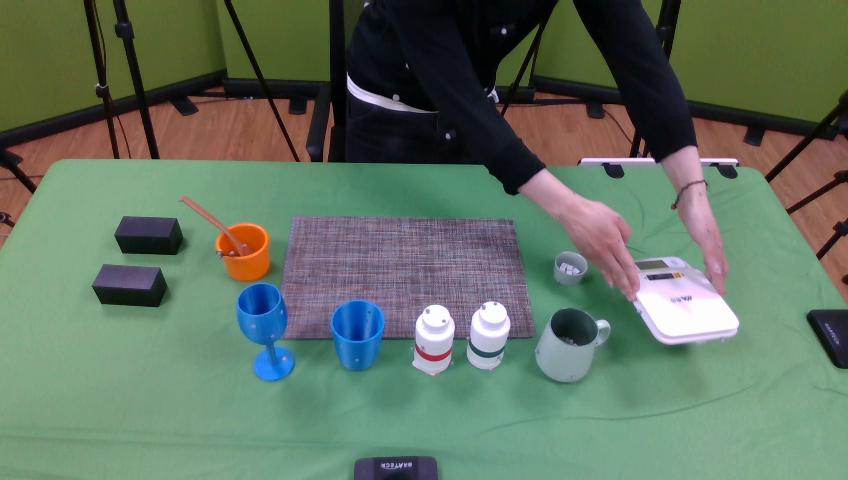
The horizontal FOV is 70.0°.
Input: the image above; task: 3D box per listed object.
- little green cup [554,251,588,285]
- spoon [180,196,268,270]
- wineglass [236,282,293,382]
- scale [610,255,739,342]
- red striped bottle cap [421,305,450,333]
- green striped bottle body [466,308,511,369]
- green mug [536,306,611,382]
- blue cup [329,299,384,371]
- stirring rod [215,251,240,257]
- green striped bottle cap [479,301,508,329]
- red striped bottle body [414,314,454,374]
[{"bbox_3d":[0.276,0.055,1.152,0.061,0.039,0.061,2,46,-2],"label":"little green cup"},{"bbox_3d":[-0.359,-0.014,1.094,0.021,0.194,0.041,-28,26,31],"label":"spoon"},{"bbox_3d":[-0.243,0.143,0.934,0.074,0.173,0.073,2,46,-2],"label":"wineglass"},{"bbox_3d":[0.422,0.090,1.037,0.149,0.032,0.199,-4,41,-12],"label":"scale"},{"bbox_3d":[0.018,0.122,0.938,0.044,0.018,0.044,3,43,-2],"label":"red striped bottle cap"},{"bbox_3d":[0.105,0.154,0.987,0.063,0.120,0.063,2,46,-2],"label":"green striped bottle body"},{"bbox_3d":[0.250,0.167,0.996,0.125,0.105,0.092,-15,49,-18],"label":"green mug"},{"bbox_3d":[-0.109,0.160,0.979,0.093,0.101,0.092,4,46,-3],"label":"blue cup"},{"bbox_3d":[-0.339,0.024,1.059,0.014,0.176,0.006,15,86,-6],"label":"stirring rod"},{"bbox_3d":[0.109,0.118,0.949,0.044,0.020,0.044,2,45,-1],"label":"green striped bottle cap"},{"bbox_3d":[0.016,0.158,0.977,0.063,0.120,0.062,1,46,-1],"label":"red striped bottle body"}]
